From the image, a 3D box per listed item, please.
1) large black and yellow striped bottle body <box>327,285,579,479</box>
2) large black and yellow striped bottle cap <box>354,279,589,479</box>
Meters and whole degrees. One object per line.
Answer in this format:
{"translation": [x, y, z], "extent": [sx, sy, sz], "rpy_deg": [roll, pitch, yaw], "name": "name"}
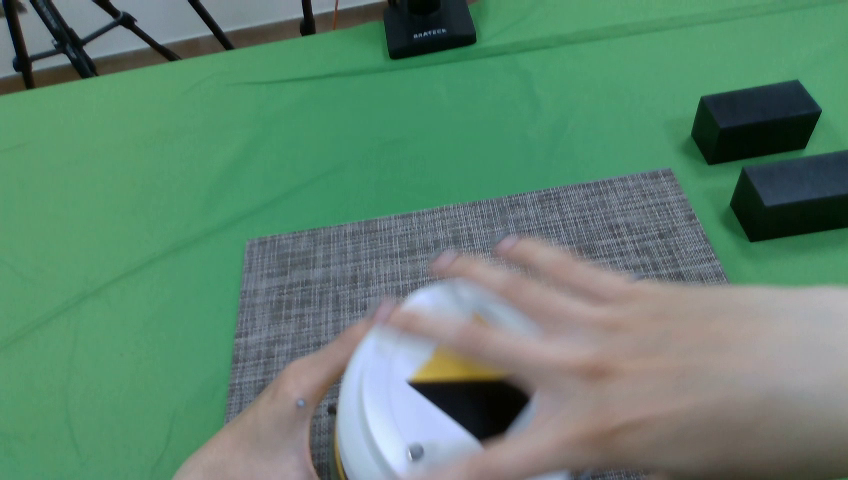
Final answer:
{"translation": [0.010, 0.112, 0.367], "extent": [0.131, 0.185, 0.129], "rpy_deg": [5, 62, -9], "name": "large black and yellow striped bottle body"}
{"translation": [0.024, 0.073, 0.295], "extent": [0.115, 0.019, 0.114], "rpy_deg": [6, 60, -10], "name": "large black and yellow striped bottle cap"}
